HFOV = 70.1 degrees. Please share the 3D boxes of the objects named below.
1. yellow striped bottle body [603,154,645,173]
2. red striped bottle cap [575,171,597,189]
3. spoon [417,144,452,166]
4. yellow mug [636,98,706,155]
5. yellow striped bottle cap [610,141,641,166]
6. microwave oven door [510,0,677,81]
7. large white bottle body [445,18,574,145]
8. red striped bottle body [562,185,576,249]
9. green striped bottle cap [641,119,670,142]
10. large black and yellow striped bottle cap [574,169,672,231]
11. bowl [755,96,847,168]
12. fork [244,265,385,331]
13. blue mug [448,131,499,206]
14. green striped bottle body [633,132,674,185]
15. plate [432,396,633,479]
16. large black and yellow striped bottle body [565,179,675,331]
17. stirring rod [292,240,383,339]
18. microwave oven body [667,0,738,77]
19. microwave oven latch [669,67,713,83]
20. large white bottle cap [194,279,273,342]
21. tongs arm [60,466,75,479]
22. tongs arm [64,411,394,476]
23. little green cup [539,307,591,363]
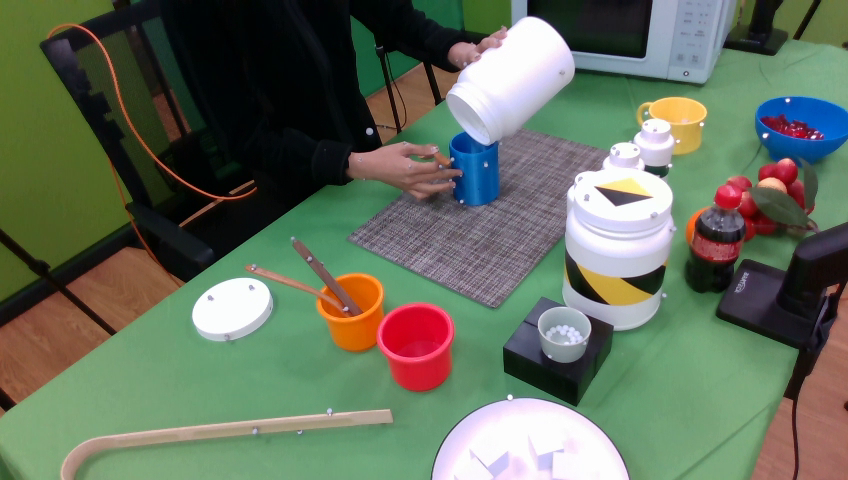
[{"bbox_3d":[0.314,-0.091,0.957,0.063,0.121,0.062,-4,40,4],"label":"yellow striped bottle body"},{"bbox_3d":[0.242,-0.081,0.876,0.044,0.018,0.044,-5,44,5],"label":"red striped bottle cap"},{"bbox_3d":[0.018,-0.142,1.019,0.041,0.022,0.193,-26,15,-3],"label":"spoon"},{"bbox_3d":[0.453,-0.217,1.128,0.100,0.064,0.129,-34,46,-27],"label":"yellow mug"},{"bbox_3d":[0.309,-0.131,0.925,0.044,0.019,0.044,-4,46,5],"label":"yellow striped bottle cap"},{"bbox_3d":[0.354,-0.478,1.290,0.353,0.245,0.039,15,45,25],"label":"microwave oven door"},{"bbox_3d":[0.137,-0.254,0.987,0.185,0.131,0.129,-42,48,-8],"label":"large white bottle body"},{"bbox_3d":[0.246,-0.041,0.910,0.063,0.120,0.062,0,38,1],"label":"red striped bottle body"},{"bbox_3d":[0.371,-0.175,0.968,0.044,0.020,0.044,-5,42,5],"label":"green striped bottle cap"},{"bbox_3d":[0.242,-0.051,0.738,0.115,0.019,0.114,-4,37,3],"label":"large black and yellow striped bottle cap"},{"bbox_3d":[0.645,-0.177,1.041,0.151,0.077,0.150,-5,40,4],"label":"bowl"},{"bbox_3d":[-0.142,0.078,0.806,0.209,0.018,0.028,30,33,-24],"label":"fork"},{"bbox_3d":[0.090,-0.135,1.050,0.082,0.106,0.116,2,41,11],"label":"blue mug"},{"bbox_3d":[0.376,-0.135,1.001,0.063,0.120,0.063,-5,40,5],"label":"green striped bottle body"},{"bbox_3d":[0.112,0.261,0.634,0.209,0.038,0.208,-5,40,4],"label":"plate"},{"bbox_3d":[0.254,0.014,0.793,0.131,0.185,0.130,-5,40,4],"label":"large black and yellow striped bottle body"},{"bbox_3d":[-0.118,0.068,0.825,0.176,0.006,0.014,48,59,-3],"label":"stirring rod"},{"bbox_3d":[0.462,-0.552,1.369,0.439,0.261,0.326,15,45,26],"label":"microwave oven body"},{"bbox_3d":[0.556,-0.349,1.261,0.078,0.029,0.030,16,46,27],"label":"microwave oven latch"},{"bbox_3d":[-0.284,0.103,0.902,0.115,0.018,0.114,-4,40,4],"label":"large white bottle cap"},{"bbox_3d":[-0.239,0.301,0.649,0.386,0.028,0.028,6,49,16],"label":"tongs arm"},{"bbox_3d":[-0.228,0.241,0.715,0.385,0.026,0.050,-5,44,5],"label":"tongs arm"},{"bbox_3d":[0.167,0.114,0.721,0.061,0.039,0.061,-4,43,4],"label":"little green cup"}]
